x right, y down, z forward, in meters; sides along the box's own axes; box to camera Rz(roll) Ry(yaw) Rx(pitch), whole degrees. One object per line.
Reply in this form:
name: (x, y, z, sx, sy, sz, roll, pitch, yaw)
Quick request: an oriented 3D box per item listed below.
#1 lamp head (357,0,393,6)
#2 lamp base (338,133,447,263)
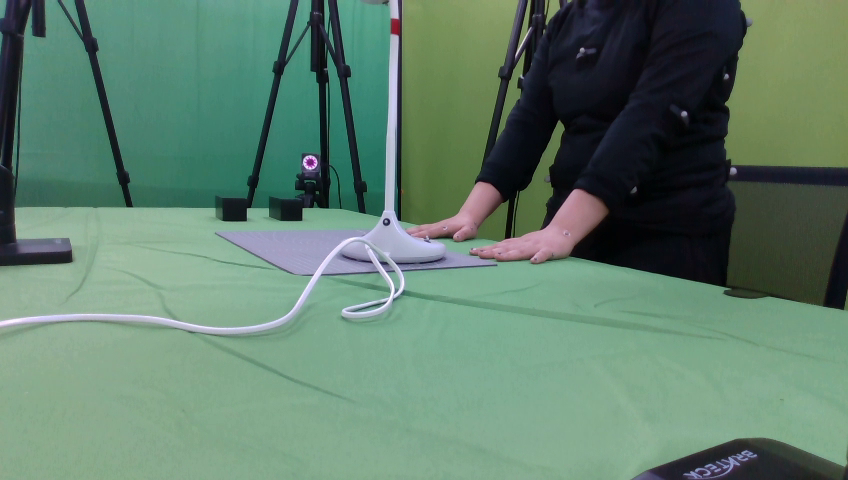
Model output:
lamp head: (-0.056, -0.383, 0.819, 0.113, 0.112, 0.122, 0, 13, -22)
lamp base: (-0.042, -0.062, 0.868, 0.161, 0.180, 0.179, 2, 10, -3)
